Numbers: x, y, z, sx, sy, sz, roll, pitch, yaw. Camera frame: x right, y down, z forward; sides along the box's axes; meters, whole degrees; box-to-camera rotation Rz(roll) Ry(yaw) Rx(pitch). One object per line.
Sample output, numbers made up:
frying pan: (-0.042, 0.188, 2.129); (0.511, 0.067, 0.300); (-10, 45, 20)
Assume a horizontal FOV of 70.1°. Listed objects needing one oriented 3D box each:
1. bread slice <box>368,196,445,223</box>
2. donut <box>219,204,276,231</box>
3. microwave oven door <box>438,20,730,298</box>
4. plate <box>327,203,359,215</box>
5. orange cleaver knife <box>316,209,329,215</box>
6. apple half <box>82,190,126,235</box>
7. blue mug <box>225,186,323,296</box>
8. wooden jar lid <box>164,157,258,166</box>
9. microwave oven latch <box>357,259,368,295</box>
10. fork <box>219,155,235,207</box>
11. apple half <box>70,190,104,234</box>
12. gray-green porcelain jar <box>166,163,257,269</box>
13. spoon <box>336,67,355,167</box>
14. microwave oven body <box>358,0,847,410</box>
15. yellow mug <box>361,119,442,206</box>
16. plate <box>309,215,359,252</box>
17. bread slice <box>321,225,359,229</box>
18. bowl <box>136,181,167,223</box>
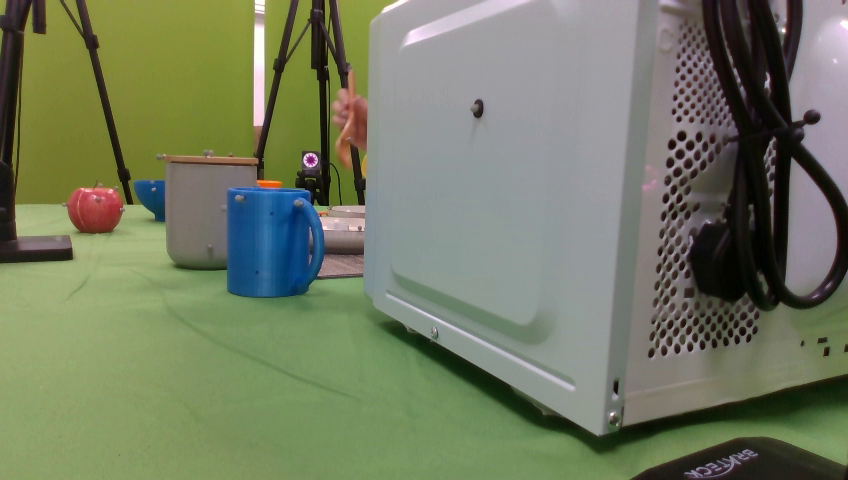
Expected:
bread slice: (-0.040, -0.057, 1.142); (0.107, 0.018, 0.133); (-8, -8, -40)
donut: (-0.316, -0.039, 1.083); (0.099, 0.048, 0.099); (3, 7, 0)
microwave oven door: (0.181, -0.076, 0.618); (0.358, 0.243, 0.039); (-2, 8, -28)
plate: (-0.102, -0.053, 1.299); (0.209, 0.038, 0.209); (2, 8, 0)
orange cleaver knife: (-0.259, -0.064, 1.423); (0.212, 0.012, 0.077); (-4, 3, -30)
apple half: (-0.516, -0.046, 0.994); (0.032, 0.081, 0.081); (0, 6, 26)
blue mug: (-0.148, 0.000, 0.618); (0.116, 0.106, 0.083); (7, 9, 33)
wooden jar lid: (-0.261, -0.093, 0.746); (0.108, 0.020, 0.108); (0, 9, 0)
microwave oven latch: (-0.019, 0.031, 0.529); (0.079, 0.029, 0.030); (-1, 7, -26)
fork: (-0.459, -0.134, 1.415); (0.028, 0.018, 0.207); (-1, -34, -24)
apple half: (-0.552, -0.047, 1.009); (0.053, 0.074, 0.081); (0, 9, 26)
gray-green porcelain jar: (-0.263, -0.031, 0.754); (0.106, 0.126, 0.106); (2, 7, 0)
spoon: (-0.119, -0.198, 0.954); (0.021, 0.193, 0.042); (-7, -29, 21)
microwave oven body: (0.210, -0.051, 0.471); (0.444, 0.260, 0.324); (-1, 7, -28)
yellow mug: (-0.024, -0.118, 0.873); (0.100, 0.130, 0.064); (5, 42, -54)
plate: (-0.130, -0.011, 0.945); (0.208, 0.039, 0.207); (2, 8, 0)
bread slice: (-0.124, -0.009, 0.938); (0.131, 0.019, 0.105); (6, 8, 32)
bowl: (-0.497, -0.076, 1.221); (0.151, 0.077, 0.151); (2, 8, 0)
